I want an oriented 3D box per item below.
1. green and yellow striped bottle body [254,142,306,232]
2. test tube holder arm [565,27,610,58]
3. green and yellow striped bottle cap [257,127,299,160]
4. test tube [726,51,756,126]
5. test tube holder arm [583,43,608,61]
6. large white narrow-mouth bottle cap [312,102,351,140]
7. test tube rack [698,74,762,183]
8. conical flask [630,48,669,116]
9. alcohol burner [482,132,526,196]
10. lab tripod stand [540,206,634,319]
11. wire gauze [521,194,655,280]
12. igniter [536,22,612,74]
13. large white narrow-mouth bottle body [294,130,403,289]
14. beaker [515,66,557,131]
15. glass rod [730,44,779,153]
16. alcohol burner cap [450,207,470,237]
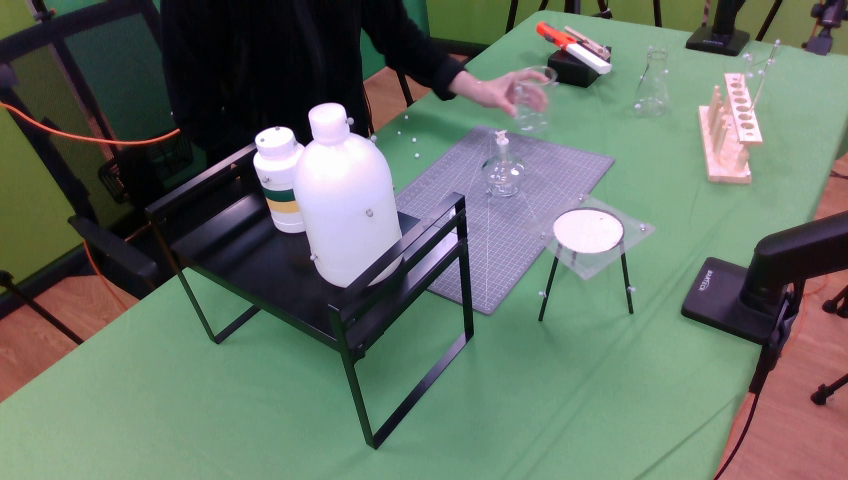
[{"bbox_3d":[-0.165,-0.073,0.732,0.063,0.120,0.063,-4,41,4],"label":"green and yellow striped bottle body"},{"bbox_3d":[0.369,-0.450,1.373,0.013,0.015,0.177,-39,41,10],"label":"test tube holder arm"},{"bbox_3d":[-0.169,-0.112,0.699,0.045,0.020,0.045,-5,41,5],"label":"green and yellow striped bottle cap"},{"bbox_3d":[0.568,-0.268,1.086,0.017,0.151,0.017,-4,46,4],"label":"test tube"},{"bbox_3d":[0.379,-0.420,1.341,0.010,0.015,0.087,-39,41,10],"label":"test tube holder arm"},{"bbox_3d":[-0.089,-0.114,0.579,0.038,0.024,0.037,-3,39,3],"label":"large white narrow-mouth bottle cap"},{"bbox_3d":[0.547,-0.208,1.095,0.066,0.085,0.242,5,42,15],"label":"test tube rack"},{"bbox_3d":[0.456,-0.317,1.205,0.075,0.122,0.075,-4,41,4],"label":"conical flask"},{"bbox_3d":[0.137,-0.136,1.042,0.078,0.119,0.077,-4,43,4],"label":"alcohol burner"},{"bbox_3d":[0.218,0.034,0.821,0.148,0.132,0.147,-4,42,4],"label":"lab tripod stand"},{"bbox_3d":[0.207,-0.012,0.772,0.122,0.011,0.124,-28,44,-20],"label":"wire gauze"},{"bbox_3d":[0.330,-0.439,1.366,0.057,0.025,0.274,-11,41,-20],"label":"igniter"},{"bbox_3d":[-0.082,-0.047,0.634,0.102,0.195,0.101,-4,39,3],"label":"large white narrow-mouth bottle body"},{"bbox_3d":[0.203,-0.261,1.120,0.074,0.100,0.083,-20,43,-15],"label":"beaker"},{"bbox_3d":[0.555,-0.233,1.020,0.008,0.200,0.008,2,39,-1],"label":"glass rod"},{"bbox_3d":[0.057,-0.032,0.987,0.034,0.048,0.033,-4,41,4],"label":"alcohol burner cap"}]
